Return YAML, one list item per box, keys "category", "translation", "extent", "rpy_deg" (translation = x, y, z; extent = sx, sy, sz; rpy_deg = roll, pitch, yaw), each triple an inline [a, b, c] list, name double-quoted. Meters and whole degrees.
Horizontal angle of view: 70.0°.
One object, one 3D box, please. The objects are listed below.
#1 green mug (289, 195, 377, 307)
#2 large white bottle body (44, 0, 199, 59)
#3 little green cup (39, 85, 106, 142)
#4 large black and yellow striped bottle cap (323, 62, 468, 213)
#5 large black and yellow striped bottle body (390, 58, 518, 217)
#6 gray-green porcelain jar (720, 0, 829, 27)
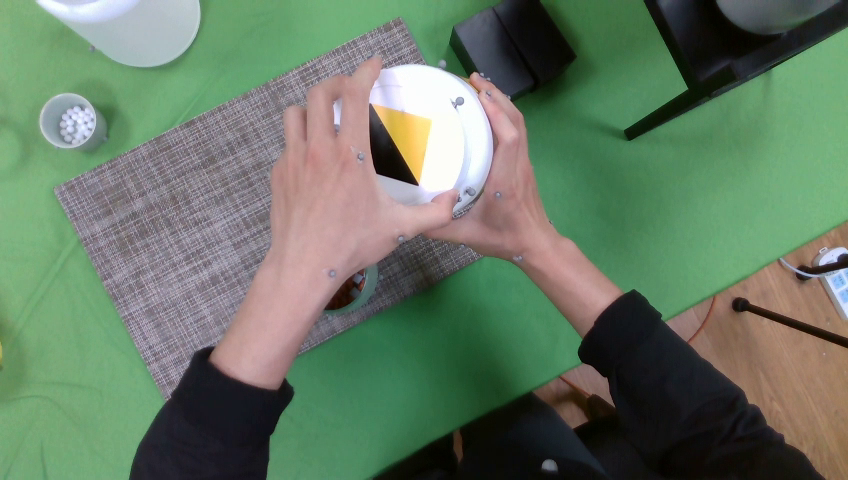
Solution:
- category: "green mug"
  translation: [-0.103, 0.012, 0.662]
  extent: [0.092, 0.105, 0.125]
  rpy_deg: [-11, 89, -3]
- category: "large white bottle body"
  translation: [-0.322, -0.276, 0.617]
  extent: [0.131, 0.184, 0.130]
  rpy_deg: [0, 88, -3]
- category: "little green cup"
  translation: [-0.393, -0.139, 0.683]
  extent: [0.061, 0.038, 0.061]
  rpy_deg: [0, 89, -5]
- category: "large black and yellow striped bottle cap"
  translation: [-0.023, -0.078, 0.465]
  extent: [0.114, 0.019, 0.115]
  rpy_deg: [3, 102, 17]
- category: "large black and yellow striped bottle body"
  translation: [0.004, -0.091, 0.543]
  extent: [0.130, 0.184, 0.131]
  rpy_deg: [4, 102, 19]
- category: "gray-green porcelain jar"
  translation: [0.316, -0.248, 0.508]
  extent: [0.106, 0.126, 0.105]
  rpy_deg: [0, 88, -3]
